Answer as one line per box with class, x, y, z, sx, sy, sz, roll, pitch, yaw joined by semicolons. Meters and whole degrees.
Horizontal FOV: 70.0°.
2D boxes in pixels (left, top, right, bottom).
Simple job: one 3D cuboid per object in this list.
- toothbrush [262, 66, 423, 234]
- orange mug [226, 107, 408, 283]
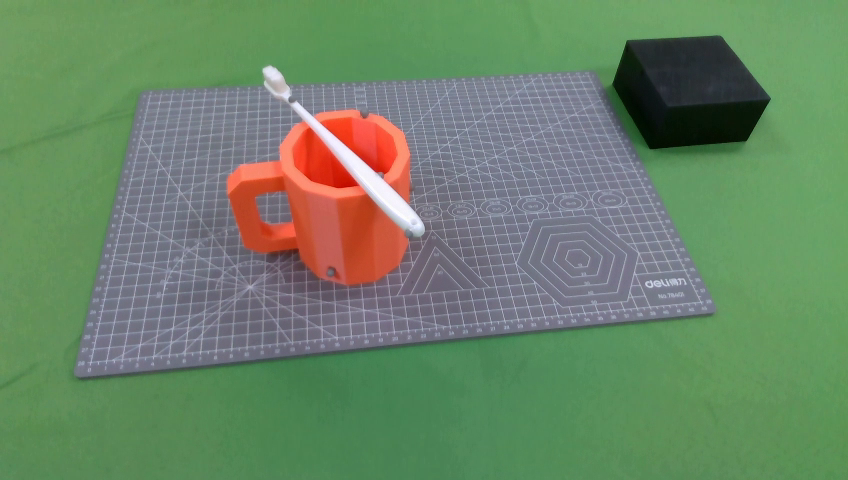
toothbrush;-0.058;-0.063;0.395;0.014;0.017;0.180;-30;59;-25
orange mug;-0.073;-0.029;0.433;0.126;0.101;0.082;-6;52;-14
